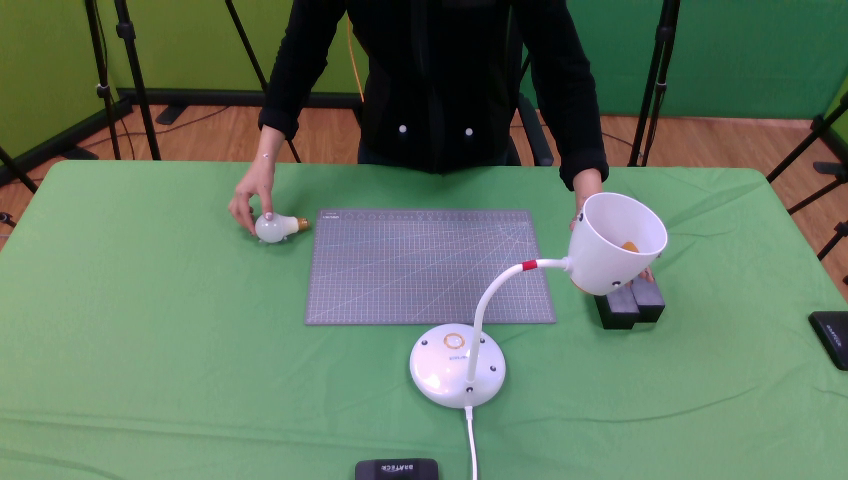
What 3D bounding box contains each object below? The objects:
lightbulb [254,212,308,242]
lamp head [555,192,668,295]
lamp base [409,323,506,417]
[{"bbox_3d":[-0.278,-0.028,1.187,0.108,0.060,0.059,-9,45,-34],"label":"lightbulb"},{"bbox_3d":[0.236,0.015,0.795,0.113,0.123,0.111,14,43,-13],"label":"lamp head"},{"bbox_3d":[0.063,0.161,0.940,0.161,0.181,0.178,-10,50,-13],"label":"lamp base"}]
